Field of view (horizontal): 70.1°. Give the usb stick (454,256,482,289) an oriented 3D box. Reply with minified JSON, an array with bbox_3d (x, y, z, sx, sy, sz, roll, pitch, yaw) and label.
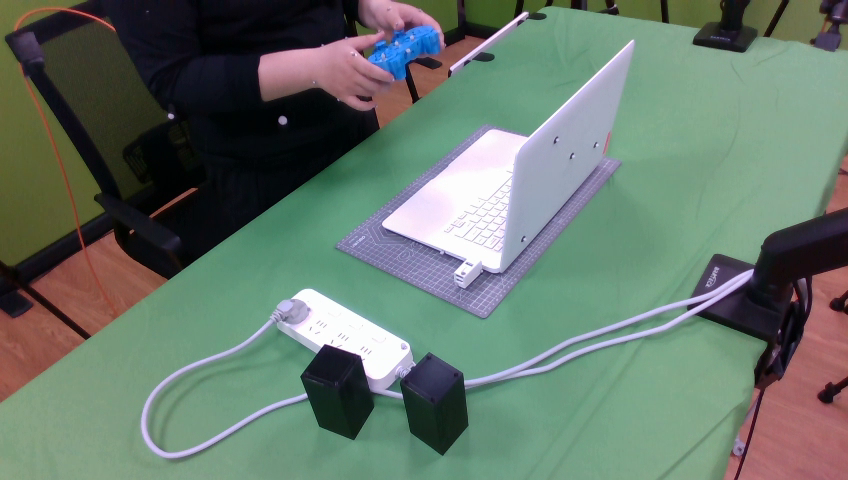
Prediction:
[{"bbox_3d":[0.069,0.044,0.891,0.021,0.027,0.059,22,44,32],"label":"usb stick"}]

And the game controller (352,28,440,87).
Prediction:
[{"bbox_3d":[-0.044,-0.301,0.980,0.096,0.052,0.155,15,47,37],"label":"game controller"}]

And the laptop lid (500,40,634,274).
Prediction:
[{"bbox_3d":[0.218,-0.128,0.906,0.013,0.242,0.358,28,50,25],"label":"laptop lid"}]

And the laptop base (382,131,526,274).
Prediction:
[{"bbox_3d":[0.123,-0.081,1.049,0.233,0.023,0.355,20,47,33],"label":"laptop base"}]

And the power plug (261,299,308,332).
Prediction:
[{"bbox_3d":[-0.193,0.109,0.830,0.073,0.053,0.035,-35,47,-23],"label":"power plug"}]

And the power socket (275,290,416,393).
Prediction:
[{"bbox_3d":[-0.114,0.132,0.821,0.225,0.033,0.072,24,48,32],"label":"power socket"}]
